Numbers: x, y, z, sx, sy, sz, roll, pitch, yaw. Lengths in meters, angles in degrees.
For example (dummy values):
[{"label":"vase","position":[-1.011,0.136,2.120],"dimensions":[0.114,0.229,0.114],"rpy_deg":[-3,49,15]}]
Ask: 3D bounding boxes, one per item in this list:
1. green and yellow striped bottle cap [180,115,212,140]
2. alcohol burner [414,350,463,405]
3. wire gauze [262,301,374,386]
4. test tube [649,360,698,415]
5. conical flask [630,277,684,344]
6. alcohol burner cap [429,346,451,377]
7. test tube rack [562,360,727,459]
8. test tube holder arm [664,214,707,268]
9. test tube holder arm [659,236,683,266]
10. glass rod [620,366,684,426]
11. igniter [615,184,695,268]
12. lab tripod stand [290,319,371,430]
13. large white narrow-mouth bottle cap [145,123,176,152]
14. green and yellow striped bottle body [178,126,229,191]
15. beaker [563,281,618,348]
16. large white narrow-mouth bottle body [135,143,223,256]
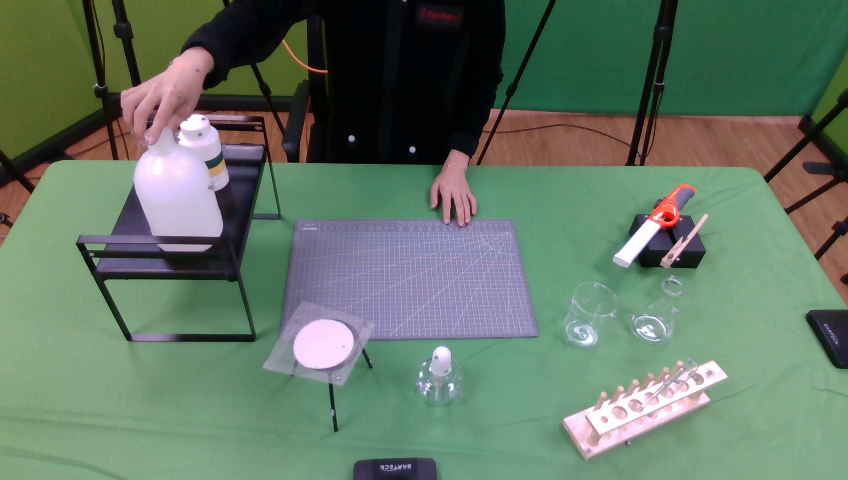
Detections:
[{"label":"green and yellow striped bottle cap","position":[-0.358,-0.177,0.951],"dimensions":[0.045,0.020,0.045],"rpy_deg":[2,45,-1]},{"label":"alcohol burner","position":[0.023,0.205,0.939],"dimensions":[0.078,0.120,0.077],"rpy_deg":[1,47,-1]},{"label":"wire gauze","position":[-0.150,0.148,0.873],"dimensions":[0.121,0.011,0.124],"rpy_deg":[14,46,12]},{"label":"test tube","position":[0.365,0.222,0.898],"dimensions":[0.017,0.151,0.017],"rpy_deg":[4,49,-5]},{"label":"conical flask","position":[0.408,0.117,1.045],"dimensions":[0.075,0.122,0.075],"rpy_deg":[2,46,-2]},{"label":"alcohol burner cap","position":[0.026,0.180,0.912],"dimensions":[0.034,0.048,0.033],"rpy_deg":[1,47,-1]},{"label":"test tube rack","position":[0.341,0.247,0.940],"dimensions":[0.243,0.085,0.066],"rpy_deg":[-16,49,-18]},{"label":"test tube holder arm","position":[0.507,-0.001,1.171],"dimensions":[0.013,0.015,0.178],"rpy_deg":[34,54,26]},{"label":"test tube holder arm","position":[0.472,0.020,1.149],"dimensions":[0.010,0.015,0.088],"rpy_deg":[35,54,27]},{"label":"glass rod","position":[0.323,0.227,0.866],"dimensions":[0.008,0.200,0.008],"rpy_deg":[5,51,-7]},{"label":"igniter","position":[0.459,-0.035,1.197],"dimensions":[0.057,0.025,0.276],"rpy_deg":[33,55,27]},{"label":"lab tripod stand","position":[-0.146,0.194,0.923],"dimensions":[0.148,0.132,0.147],"rpy_deg":[1,47,-1]},{"label":"large white narrow-mouth bottle cap","position":[-0.354,-0.138,0.814],"dimensions":[0.038,0.024,0.037],"rpy_deg":[2,45,-2]},{"label":"green and yellow striped bottle body","position":[-0.361,-0.142,0.989],"dimensions":[0.063,0.120,0.063],"rpy_deg":[2,46,-2]},{"label":"beaker","position":[0.283,0.129,1.041],"dimensions":[0.074,0.101,0.083],"rpy_deg":[11,46,7]},{"label":"large white narrow-mouth bottle body","position":[-0.358,-0.075,0.874],"dimensions":[0.102,0.195,0.101],"rpy_deg":[2,45,-1]}]
